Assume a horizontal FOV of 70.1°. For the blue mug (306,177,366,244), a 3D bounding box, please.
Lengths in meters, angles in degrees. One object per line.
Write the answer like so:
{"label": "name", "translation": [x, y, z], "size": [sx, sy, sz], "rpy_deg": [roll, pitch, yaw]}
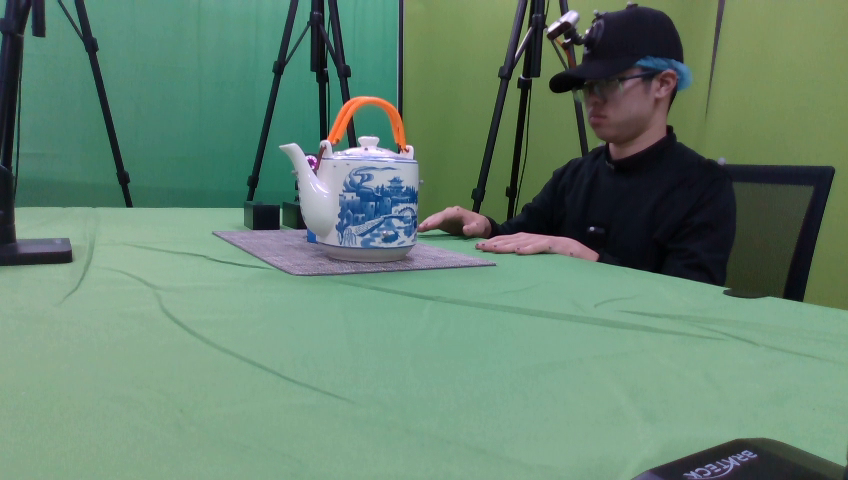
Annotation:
{"label": "blue mug", "translation": [-0.144, -0.052, 1.027], "size": [0.082, 0.106, 0.117], "rpy_deg": [9, 10, 42]}

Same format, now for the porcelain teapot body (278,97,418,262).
{"label": "porcelain teapot body", "translation": [-0.104, -0.086, 0.842], "size": [0.206, 0.225, 0.144], "rpy_deg": [-4, 10, -38]}

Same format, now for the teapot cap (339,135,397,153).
{"label": "teapot cap", "translation": [-0.080, -0.127, 0.854], "size": [0.085, 0.044, 0.085], "rpy_deg": [-1, 6, 0]}
